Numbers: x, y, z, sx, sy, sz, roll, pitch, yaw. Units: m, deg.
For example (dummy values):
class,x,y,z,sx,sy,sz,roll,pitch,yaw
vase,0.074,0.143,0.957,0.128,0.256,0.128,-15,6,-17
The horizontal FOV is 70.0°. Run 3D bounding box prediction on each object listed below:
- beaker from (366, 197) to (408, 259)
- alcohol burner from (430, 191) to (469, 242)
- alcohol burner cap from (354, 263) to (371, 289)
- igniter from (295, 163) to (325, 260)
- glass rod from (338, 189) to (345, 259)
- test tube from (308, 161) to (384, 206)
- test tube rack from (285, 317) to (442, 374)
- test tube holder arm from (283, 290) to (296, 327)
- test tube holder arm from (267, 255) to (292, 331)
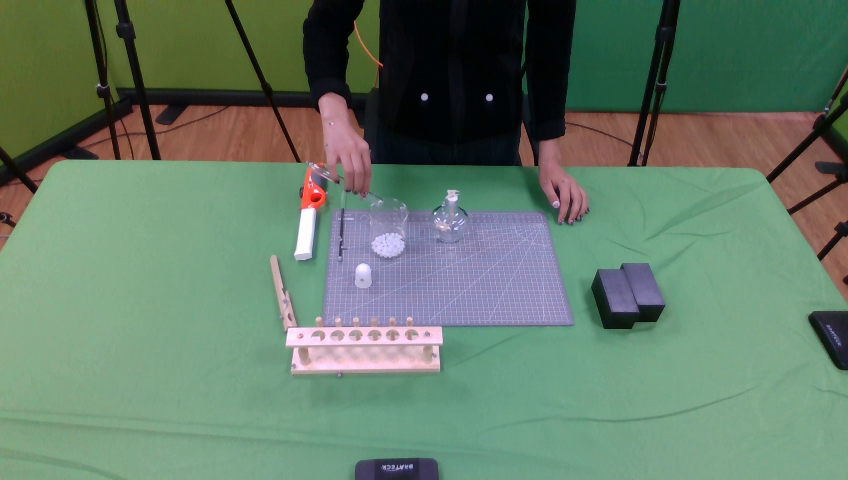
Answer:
class,x,y,z,sx,sy,sz,roll,pitch,yaw
beaker,-0.068,-0.018,1.153,0.074,0.101,0.083,-26,54,-25
alcohol burner,0.051,-0.053,1.185,0.078,0.119,0.077,2,48,-2
alcohol burner cap,-0.113,0.063,1.111,0.034,0.048,0.033,2,45,-2
igniter,-0.233,-0.067,1.243,0.057,0.025,0.274,-7,46,4
glass rod,-0.166,-0.037,1.227,0.008,0.008,0.198,0,47,-4
test tube,-0.139,-0.101,1.086,0.151,0.017,0.017,28,42,-22
test tube rack,-0.095,0.166,0.988,0.242,0.085,0.066,0,46,-4
test tube holder arm,-0.241,0.123,1.067,0.010,0.015,0.087,15,34,-38
test tube holder arm,-0.261,0.091,1.092,0.013,0.015,0.177,14,35,-39
